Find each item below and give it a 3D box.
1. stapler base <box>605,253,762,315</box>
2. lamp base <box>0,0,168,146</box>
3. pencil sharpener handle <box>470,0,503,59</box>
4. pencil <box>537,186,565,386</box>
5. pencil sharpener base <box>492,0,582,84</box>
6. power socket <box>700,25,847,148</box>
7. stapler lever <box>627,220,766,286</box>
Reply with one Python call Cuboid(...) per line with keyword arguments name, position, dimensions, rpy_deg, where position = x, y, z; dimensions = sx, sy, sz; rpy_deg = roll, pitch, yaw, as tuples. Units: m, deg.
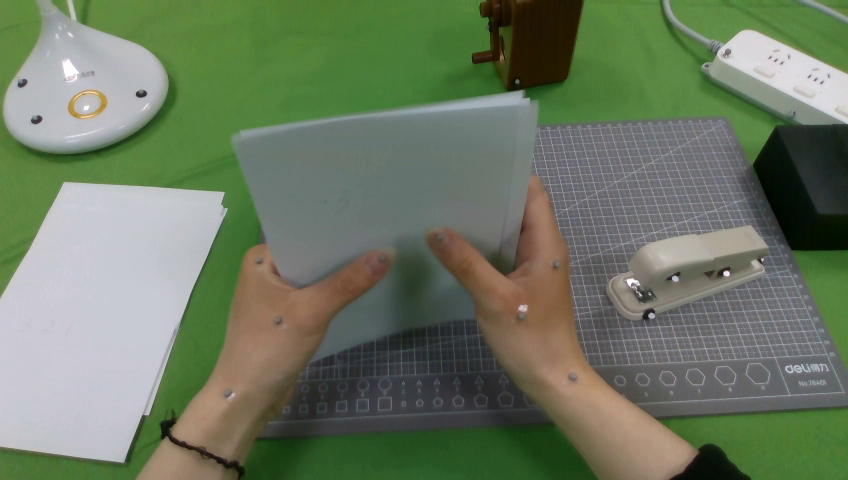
Cuboid(name="stapler base", position=(0.211, 0.022, 0.485), dimensions=(0.131, 0.024, 0.041), rpy_deg=(-16, 57, -12))
Cuboid(name="lamp base", position=(-0.353, -0.208, 0.560), dimensions=(0.161, 0.182, 0.177), rpy_deg=(-29, 57, -19))
Cuboid(name="pencil sharpener handle", position=(0.058, -0.211, 0.587), dimensions=(0.031, 0.068, 0.035), rpy_deg=(-12, 33, -7))
Cuboid(name="pencil", position=(0.101, 0.027, 0.493), dimensions=(0.012, 0.012, 0.192), rpy_deg=(2, 53, 2))
Cuboid(name="pencil sharpener base", position=(0.107, -0.218, 0.608), dimensions=(0.077, 0.108, 0.060), rpy_deg=(-12, 56, -7))
Cuboid(name="power socket", position=(0.390, -0.145, 0.599), dimensions=(0.072, 0.033, 0.225), rpy_deg=(-39, 62, -24))
Cuboid(name="stapler lever", position=(0.211, 0.006, 0.466), dimensions=(0.118, 0.040, 0.026), rpy_deg=(-16, 57, -12))
